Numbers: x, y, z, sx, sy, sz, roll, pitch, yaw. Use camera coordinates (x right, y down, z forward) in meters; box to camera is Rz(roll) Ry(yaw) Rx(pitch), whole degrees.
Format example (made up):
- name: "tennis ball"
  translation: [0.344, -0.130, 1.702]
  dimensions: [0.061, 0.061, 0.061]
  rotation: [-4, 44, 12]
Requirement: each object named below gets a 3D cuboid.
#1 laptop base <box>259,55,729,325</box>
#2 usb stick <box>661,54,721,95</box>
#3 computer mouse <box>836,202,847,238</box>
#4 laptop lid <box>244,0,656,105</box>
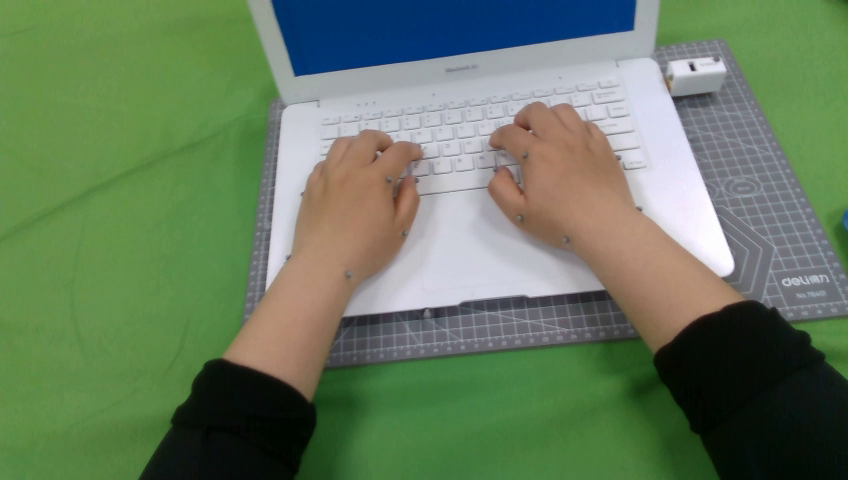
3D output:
- name: "laptop base"
  translation: [0.042, -0.050, 0.514]
  dimensions: [0.354, 0.023, 0.233]
  rotation: [-7, 59, 4]
- name: "usb stick"
  translation: [0.227, -0.145, 0.535]
  dimensions: [0.059, 0.027, 0.021]
  rotation: [-7, 56, 7]
- name: "computer mouse"
  translation: [0.345, 0.009, 0.420]
  dimensions: [0.063, 0.041, 0.116]
  rotation: [-11, 51, 4]
- name: "laptop lid"
  translation: [0.020, -0.233, 0.498]
  dimensions: [0.356, 0.244, 0.013]
  rotation: [-8, 43, 5]
